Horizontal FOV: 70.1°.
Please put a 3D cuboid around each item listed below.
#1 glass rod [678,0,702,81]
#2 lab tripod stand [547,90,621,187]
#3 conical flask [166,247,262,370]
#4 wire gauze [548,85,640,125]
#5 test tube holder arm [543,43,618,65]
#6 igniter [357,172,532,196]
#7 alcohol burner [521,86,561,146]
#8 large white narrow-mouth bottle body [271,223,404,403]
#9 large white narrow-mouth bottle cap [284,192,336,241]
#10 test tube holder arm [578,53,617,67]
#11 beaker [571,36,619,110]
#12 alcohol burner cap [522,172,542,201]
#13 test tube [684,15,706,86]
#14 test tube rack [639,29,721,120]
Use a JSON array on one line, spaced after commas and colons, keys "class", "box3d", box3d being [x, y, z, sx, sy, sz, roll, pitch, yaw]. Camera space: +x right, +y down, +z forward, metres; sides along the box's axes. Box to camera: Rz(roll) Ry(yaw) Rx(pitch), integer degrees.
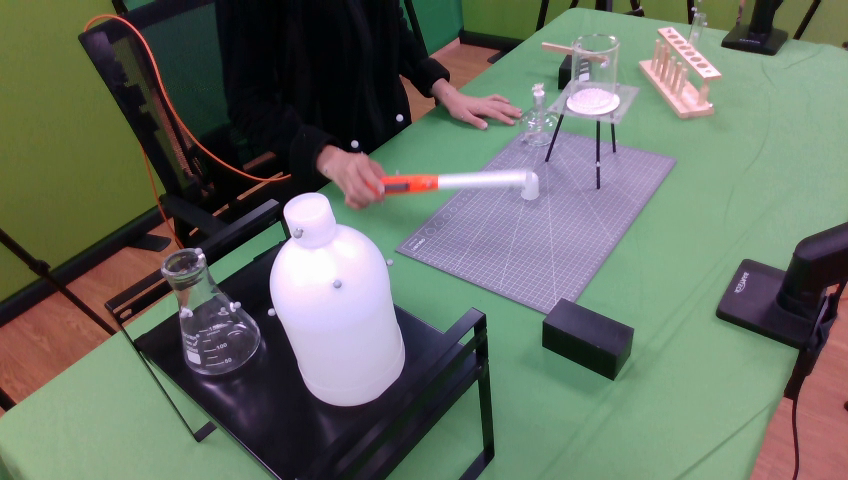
[{"class": "glass rod", "box3d": [0.543, -0.417, 1.233, 0.008, 0.200, 0.008, 1, 39, 0]}, {"class": "lab tripod stand", "box3d": [0.289, -0.184, 1.062, 0.148, 0.132, 0.147, -6, 41, 6]}, {"class": "conical flask", "box3d": [-0.209, 0.064, 0.584, 0.075, 0.122, 0.075, -5, 40, 4]}, {"class": "wire gauze", "box3d": [0.286, -0.233, 1.020, 0.124, 0.011, 0.122, 15, 43, 30]}, {"class": "test tube holder arm", "box3d": [0.345, -0.413, 1.340, 0.177, 0.015, 0.013, 25, 50, 31]}, {"class": "igniter", "box3d": [0.018, -0.080, 0.857, 0.275, 0.025, 0.057, 0, 11, 28]}, {"class": "alcohol burner", "box3d": [0.223, -0.241, 1.155, 0.078, 0.119, 0.077, -5, 43, 5]}, {"class": "large white narrow-mouth bottle body", "box3d": [-0.077, 0.048, 0.525, 0.102, 0.195, 0.101, -5, 40, 5]}, {"class": "large white narrow-mouth bottle cap", "box3d": [-0.087, -0.019, 0.466, 0.038, 0.024, 0.037, -5, 40, 4]}, {"class": "test tube holder arm", "box3d": [0.376, -0.393, 1.314, 0.087, 0.015, 0.010, 26, 50, 32]}, {"class": "beaker", "box3d": [0.281, -0.273, 0.992, 0.084, 0.101, 0.073, -24, 42, -16]}, {"class": "alcohol burner cap", "box3d": [0.186, -0.096, 1.047, 0.034, 0.048, 0.033, -6, 37, 5]}, {"class": "test tube", "box3d": [0.540, -0.378, 1.215, 0.017, 0.151, 0.017, -2, 44, 3]}, {"class": "test tube rack", "box3d": [0.527, -0.351, 1.262, 0.067, 0.085, 0.241, -8, 40, 1]}]
